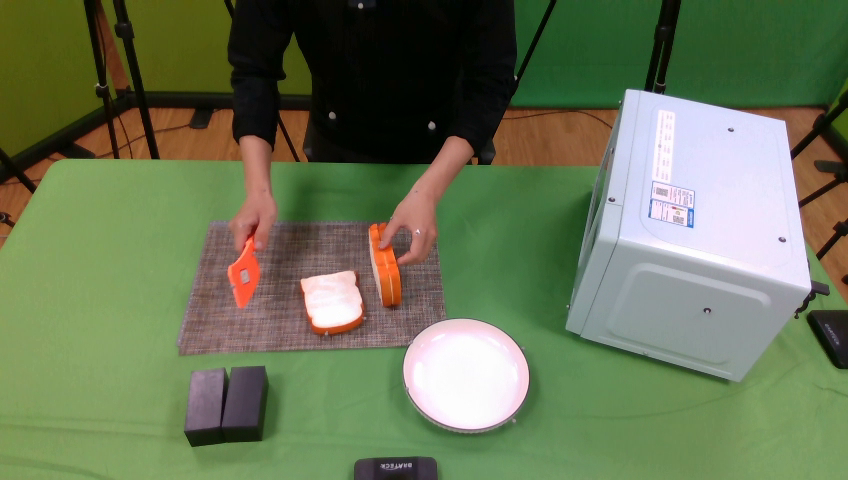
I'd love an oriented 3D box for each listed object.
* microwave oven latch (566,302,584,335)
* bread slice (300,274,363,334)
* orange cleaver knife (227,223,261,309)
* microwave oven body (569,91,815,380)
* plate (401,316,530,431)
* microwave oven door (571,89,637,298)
[{"bbox_3d":[0.268,0.126,1.059,0.030,0.029,0.079,16,46,12],"label":"microwave oven latch"},{"bbox_3d":[-0.164,0.113,1.076,0.107,0.018,0.133,-11,39,-7],"label":"bread slice"},{"bbox_3d":[-0.294,0.038,1.016,0.012,0.077,0.210,-14,26,4],"label":"orange cleaver knife"},{"bbox_3d":[0.468,-0.022,1.082,0.325,0.261,0.440,15,46,11],"label":"microwave oven body"},{"bbox_3d":[0.066,0.217,0.982,0.208,0.039,0.206,2,46,-2],"label":"plate"},{"bbox_3d":[0.343,-0.091,1.132,0.039,0.245,0.354,15,47,10],"label":"microwave oven door"}]
